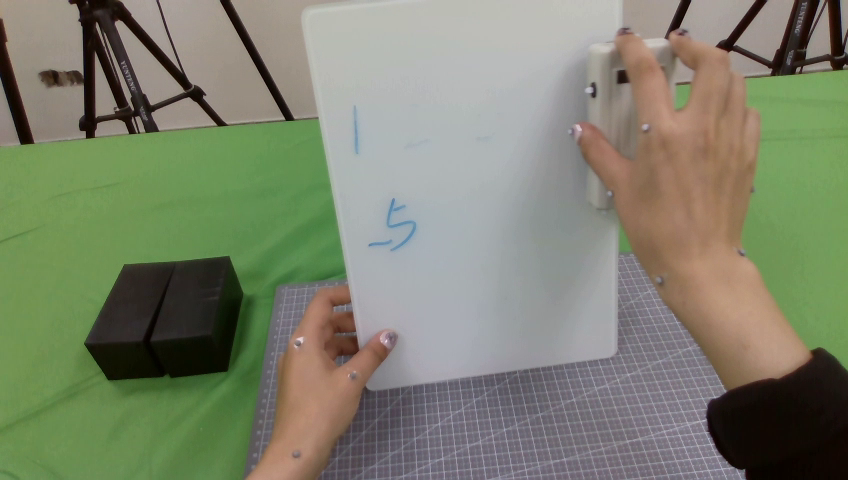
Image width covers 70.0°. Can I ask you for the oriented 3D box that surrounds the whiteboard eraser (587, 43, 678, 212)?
[{"bbox_3d":[0.143,-0.077,0.424,0.055,0.113,0.041,-7,20,-4],"label":"whiteboard eraser"}]

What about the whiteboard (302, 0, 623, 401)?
[{"bbox_3d":[0.038,-0.045,0.517,0.217,0.307,0.143,-7,21,-2],"label":"whiteboard"}]
